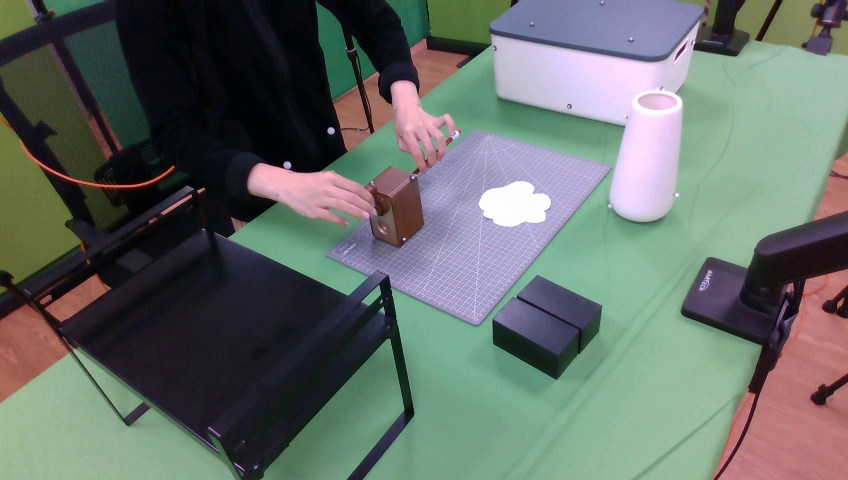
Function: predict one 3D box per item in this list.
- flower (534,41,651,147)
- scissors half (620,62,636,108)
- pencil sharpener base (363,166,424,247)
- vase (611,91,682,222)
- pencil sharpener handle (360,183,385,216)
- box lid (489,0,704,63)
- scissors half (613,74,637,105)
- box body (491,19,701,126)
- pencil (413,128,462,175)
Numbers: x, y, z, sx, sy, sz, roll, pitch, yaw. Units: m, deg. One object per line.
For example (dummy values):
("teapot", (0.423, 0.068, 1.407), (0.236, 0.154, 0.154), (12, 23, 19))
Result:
("flower", (0.364, -0.319, 1.318), (0.038, 0.044, 0.359), (-4, 48, -50))
("scissors half", (0.434, -0.340, 1.298), (0.013, 0.040, 0.174), (25, 42, -12))
("pencil sharpener base", (-0.049, -0.052, 0.973), (0.061, 0.107, 0.077), (22, 49, 30))
("vase", (0.348, -0.125, 0.935), (0.098, 0.201, 0.097), (-3, 40, 3))
("pencil sharpener handle", (-0.082, -0.055, 0.914), (0.036, 0.068, 0.031), (28, 52, 23))
("box lid", (0.345, -0.441, 1.217), (0.369, 0.015, 0.264), (21, 49, 29))
("scissors half", (0.427, -0.330, 1.306), (0.013, 0.040, 0.174), (31, 31, -14))
("box body", (0.352, -0.384, 1.268), (0.361, 0.161, 0.255), (21, 48, 29))
("pencil", (0.010, -0.137, 1.019), (0.012, 0.012, 0.194), (20, 50, 28))
